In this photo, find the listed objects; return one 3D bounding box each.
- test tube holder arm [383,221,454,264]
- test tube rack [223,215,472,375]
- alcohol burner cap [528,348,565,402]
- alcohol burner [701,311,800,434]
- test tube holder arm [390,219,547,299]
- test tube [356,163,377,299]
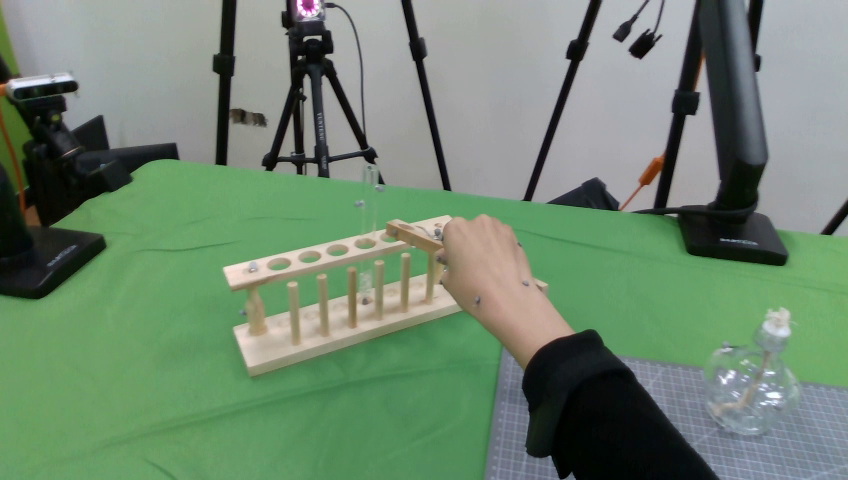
[{"bbox_3d":[-0.004,0.001,0.560,0.087,0.015,0.010,22,35,36],"label":"test tube holder arm"},{"bbox_3d":[-0.069,0.050,0.618,0.243,0.086,0.066,-14,35,-24],"label":"test tube rack"},{"bbox_3d":[0.113,0.119,0.550,0.034,0.048,0.033,2,33,-1],"label":"alcohol burner cap"},{"bbox_3d":[0.280,0.106,0.511,0.078,0.120,0.077,2,34,-1],"label":"alcohol burner"},{"bbox_3d":[0.033,0.013,0.538,0.177,0.015,0.013,23,35,36],"label":"test tube holder arm"},{"bbox_3d":[-0.059,-0.005,0.613,0.017,0.151,0.017,4,28,-2],"label":"test tube"}]
